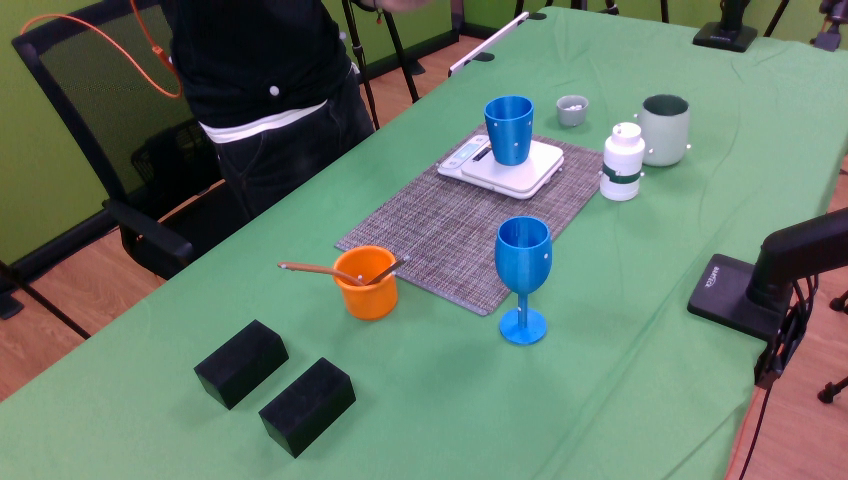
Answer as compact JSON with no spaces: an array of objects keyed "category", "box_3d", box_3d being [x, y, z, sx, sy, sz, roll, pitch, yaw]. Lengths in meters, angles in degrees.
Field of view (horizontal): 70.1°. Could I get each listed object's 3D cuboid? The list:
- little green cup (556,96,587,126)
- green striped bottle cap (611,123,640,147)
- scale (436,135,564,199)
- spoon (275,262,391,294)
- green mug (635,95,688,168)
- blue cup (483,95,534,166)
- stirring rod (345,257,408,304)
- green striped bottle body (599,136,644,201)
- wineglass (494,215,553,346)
[{"category":"little green cup","box_3d":[0.295,-0.258,1.214,0.061,0.039,0.061,-4,42,4]},{"category":"green striped bottle cap","box_3d":[0.322,-0.168,0.963,0.044,0.020,0.044,-3,42,3]},{"category":"scale","box_3d":[0.137,-0.142,1.101,0.199,0.032,0.149,22,48,30]},{"category":"spoon","box_3d":[-0.120,0.050,0.830,0.041,0.195,0.021,32,97,45]},{"category":"green mug","box_3d":[0.421,-0.201,1.081,0.092,0.105,0.125,5,42,15]},{"category":"blue cup","box_3d":[0.150,-0.187,1.051,0.092,0.101,0.092,-6,41,6]},{"category":"stirring rod","box_3d":[-0.067,0.057,0.815,0.014,0.175,0.006,-25,82,-38]},{"category":"green striped bottle body","box_3d":[0.326,-0.128,0.997,0.063,0.120,0.063,-4,41,4]},{"category":"wineglass","box_3d":[0.127,0.054,0.770,0.074,0.173,0.073,-4,40,4]}]
